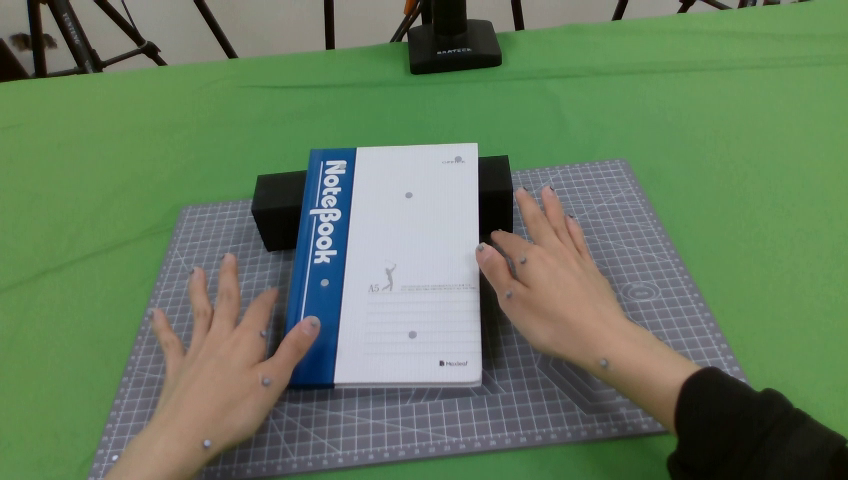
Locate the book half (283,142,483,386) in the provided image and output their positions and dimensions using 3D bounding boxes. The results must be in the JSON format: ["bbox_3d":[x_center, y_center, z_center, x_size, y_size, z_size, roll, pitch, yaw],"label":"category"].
[{"bbox_3d":[-0.027,0.011,0.474,0.143,0.007,0.208,-2,61,5],"label":"book half"}]
